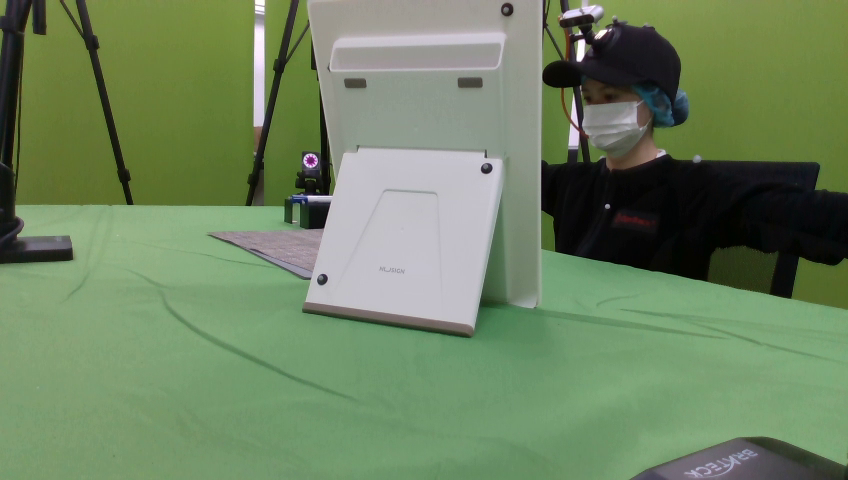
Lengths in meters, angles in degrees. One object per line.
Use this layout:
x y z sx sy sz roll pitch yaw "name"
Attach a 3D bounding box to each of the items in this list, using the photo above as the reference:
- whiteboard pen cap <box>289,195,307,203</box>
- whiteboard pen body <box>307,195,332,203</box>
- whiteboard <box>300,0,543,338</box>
-0.247 -0.081 1.189 0.033 0.018 0.018 -4 10 -32 "whiteboard pen cap"
-0.195 -0.082 1.223 0.141 0.017 0.017 -2 9 -34 "whiteboard pen body"
-0.020 -0.050 0.523 0.216 0.305 0.144 6 27 22 "whiteboard"
